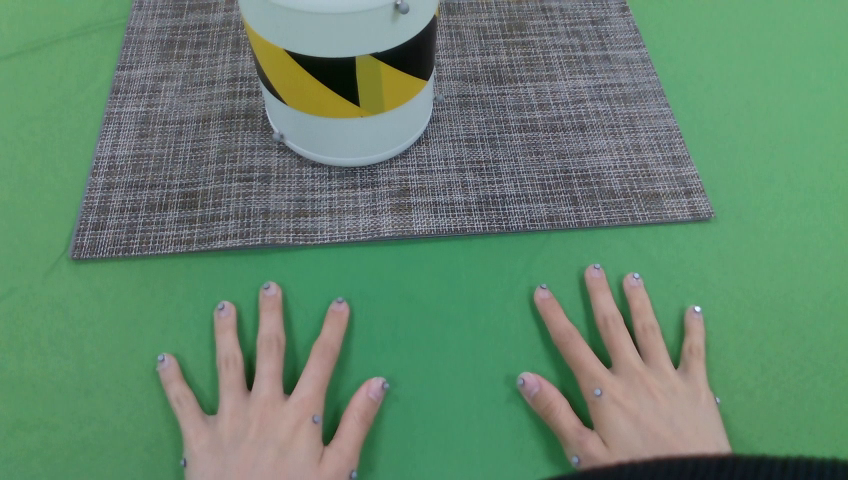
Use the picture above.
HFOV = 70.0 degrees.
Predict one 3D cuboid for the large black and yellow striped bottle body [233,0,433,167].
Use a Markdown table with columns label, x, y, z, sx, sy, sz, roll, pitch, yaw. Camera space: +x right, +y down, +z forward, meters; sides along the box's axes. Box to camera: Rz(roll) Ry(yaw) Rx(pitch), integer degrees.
| label | x | y | z | sx | sy | sz | roll | pitch | yaw |
| --- | --- | --- | --- | --- | --- | --- | --- | --- | --- |
| large black and yellow striped bottle body | -0.058 | -0.153 | 0.407 | 0.131 | 0.185 | 0.129 | 1 | 58 | -2 |
